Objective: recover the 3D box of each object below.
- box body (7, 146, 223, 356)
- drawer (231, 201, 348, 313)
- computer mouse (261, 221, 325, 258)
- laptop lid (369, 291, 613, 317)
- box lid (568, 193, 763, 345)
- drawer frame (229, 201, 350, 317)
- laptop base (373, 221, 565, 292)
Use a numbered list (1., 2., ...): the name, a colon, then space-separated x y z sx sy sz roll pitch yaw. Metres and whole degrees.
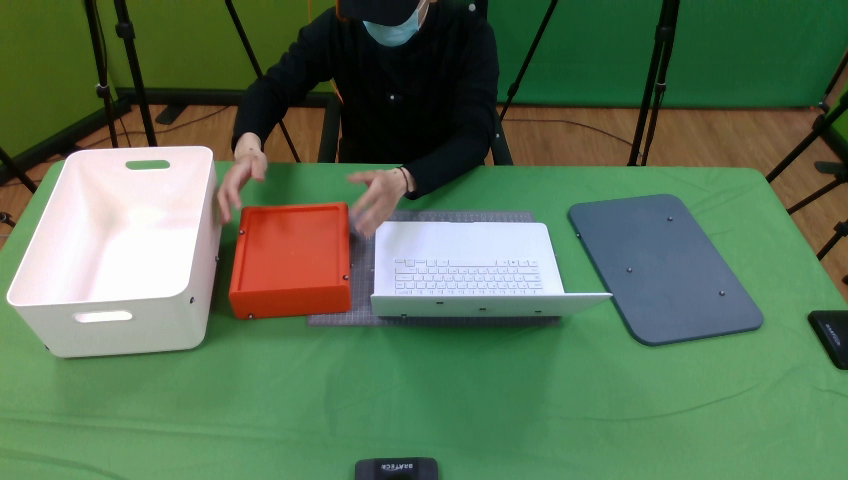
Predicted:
1. box body: -0.499 0.012 1.051 0.254 0.161 0.361 -3 47 -7
2. drawer: -0.239 0.027 1.111 0.195 0.073 0.210 -3 47 -6
3. computer mouse: -0.248 -0.002 1.150 0.117 0.041 0.062 12 42 -3
4. laptop lid: 0.092 0.104 0.965 0.357 0.242 0.013 0 76 -5
5. box lid: 0.465 0.040 1.203 0.264 0.015 0.369 -7 47 -11
6. drawer frame: -0.237 0.030 1.107 0.202 0.083 0.212 -3 47 -6
7. laptop base: 0.080 0.049 1.158 0.355 0.023 0.234 0 43 -4
